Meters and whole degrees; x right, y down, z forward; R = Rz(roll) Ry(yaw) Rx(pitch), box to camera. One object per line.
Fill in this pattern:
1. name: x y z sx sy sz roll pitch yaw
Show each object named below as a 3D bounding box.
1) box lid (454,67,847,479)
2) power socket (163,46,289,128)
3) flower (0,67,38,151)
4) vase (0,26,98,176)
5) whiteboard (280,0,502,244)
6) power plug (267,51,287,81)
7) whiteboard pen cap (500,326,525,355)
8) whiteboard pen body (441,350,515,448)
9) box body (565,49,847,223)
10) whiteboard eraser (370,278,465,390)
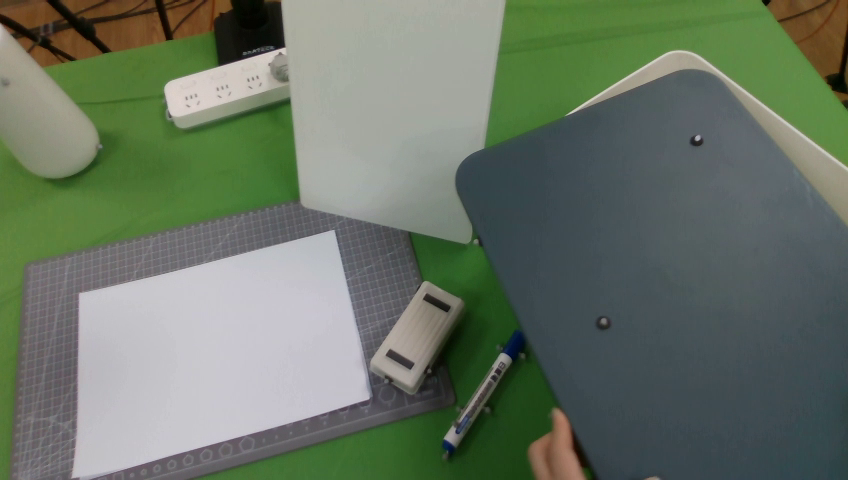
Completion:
1. box lid: 0.198 0.023 0.476 0.263 0.015 0.367 -22 59 -1
2. power socket: -0.247 -0.215 0.832 0.227 0.033 0.071 -19 63 -9
3. flower: -0.459 -0.201 0.644 0.038 0.363 0.044 33 57 0
4. vase: -0.477 -0.163 0.717 0.098 0.201 0.097 -1 60 3
5. whiteboard: -0.023 -0.175 0.681 0.216 0.308 0.143 14 41 10
6. power plug: -0.190 -0.218 0.806 0.035 0.053 0.072 -9 67 -3
7. whiteboard pen cap: 0.096 0.110 0.648 0.018 0.018 0.033 30 68 18
8. whiteboard pen body: 0.063 0.153 0.626 0.017 0.017 0.140 32 67 19
9. box body: 0.279 0.016 0.610 0.254 0.162 0.361 -33 65 -15
10. whiteboard eraser: -0.006 0.099 0.640 0.055 0.042 0.112 26 65 17
